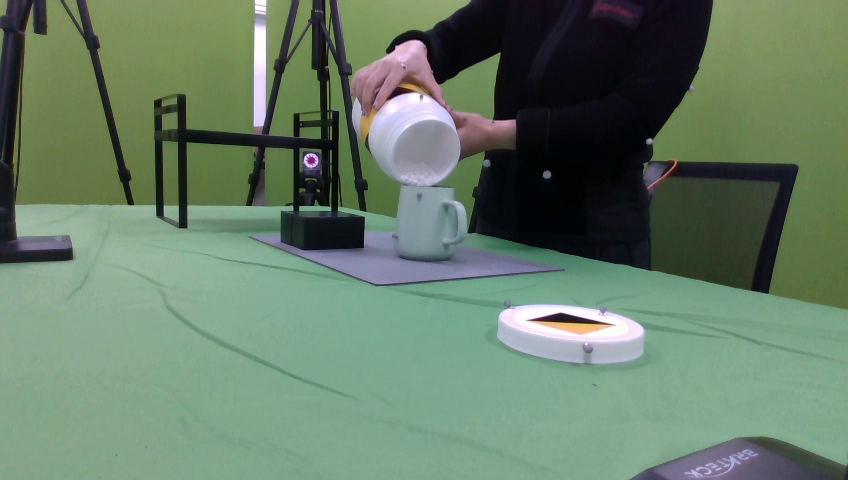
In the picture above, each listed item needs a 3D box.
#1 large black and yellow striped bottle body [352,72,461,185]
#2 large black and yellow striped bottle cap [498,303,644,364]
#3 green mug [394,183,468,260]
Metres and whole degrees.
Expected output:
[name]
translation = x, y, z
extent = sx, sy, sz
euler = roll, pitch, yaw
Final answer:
[large black and yellow striped bottle body]
translation = -0.028, -0.170, 0.930
extent = 0.131, 0.130, 0.183
euler = -1, 31, -23
[large black and yellow striped bottle cap]
translation = 0.117, 0.072, 0.486
extent = 0.115, 0.019, 0.115
euler = 1, 8, 0
[green mug]
translation = 0.015, -0.026, 0.858
extent = 0.093, 0.105, 0.124
euler = -4, 9, -41
